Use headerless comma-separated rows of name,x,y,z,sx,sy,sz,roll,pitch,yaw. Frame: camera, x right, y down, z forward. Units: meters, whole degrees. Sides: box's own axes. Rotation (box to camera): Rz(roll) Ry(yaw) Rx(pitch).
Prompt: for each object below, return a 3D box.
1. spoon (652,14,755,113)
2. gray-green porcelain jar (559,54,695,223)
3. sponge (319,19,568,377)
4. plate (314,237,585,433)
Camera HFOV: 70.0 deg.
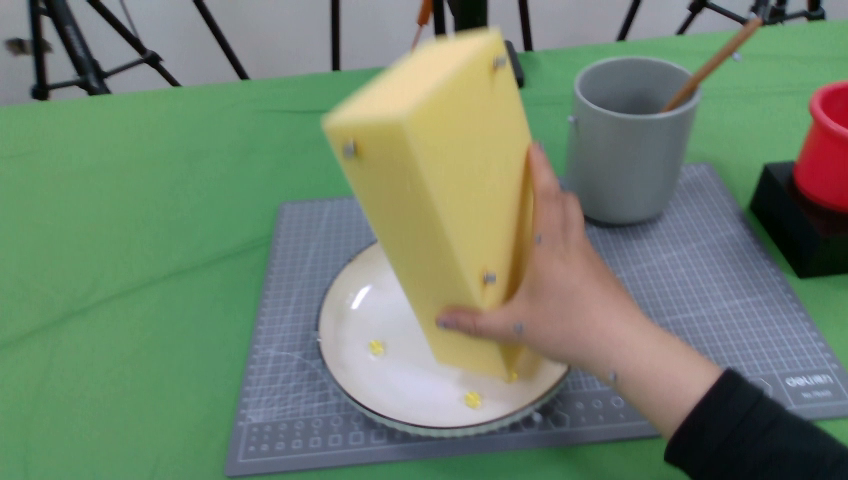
spoon,0.207,-0.111,0.524,0.022,0.194,0.041,26,40,-7
gray-green porcelain jar,0.180,-0.088,0.557,0.106,0.128,0.105,-3,44,3
sponge,0.028,-0.023,0.406,0.060,0.209,0.118,4,42,36
plate,0.020,0.062,0.481,0.207,0.039,0.205,-3,44,3
